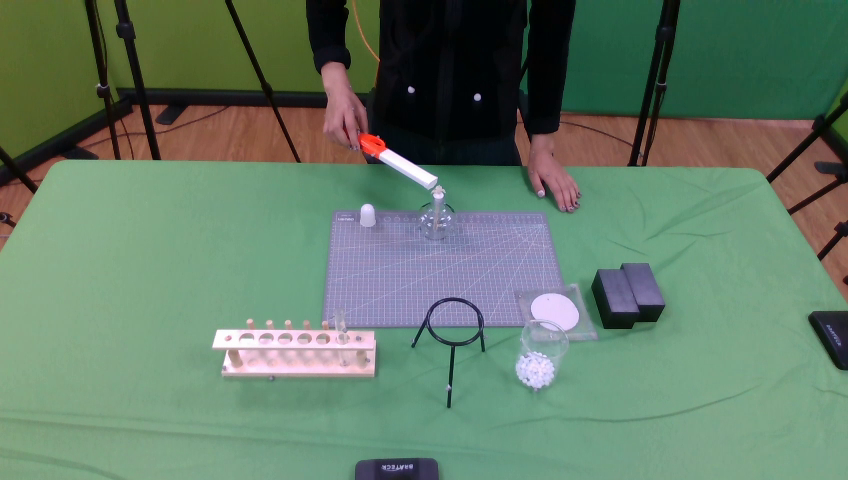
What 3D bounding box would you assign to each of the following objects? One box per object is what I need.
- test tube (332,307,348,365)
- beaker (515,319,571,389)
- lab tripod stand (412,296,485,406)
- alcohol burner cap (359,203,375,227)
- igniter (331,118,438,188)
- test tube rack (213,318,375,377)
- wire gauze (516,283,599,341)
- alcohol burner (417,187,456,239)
[{"bbox_3d":[-0.128,0.151,0.931,0.017,0.151,0.017,1,50,-2],"label":"test tube"},{"bbox_3d":[0.186,0.186,0.980,0.074,0.101,0.083,-23,51,-24],"label":"beaker"},{"bbox_3d":[0.045,0.168,0.963,0.148,0.132,0.147,3,47,-3],"label":"lab tripod stand"},{"bbox_3d":[-0.115,-0.053,1.224,0.034,0.048,0.033,3,47,-3],"label":"alcohol burner cap"},{"bbox_3d":[-0.088,-0.178,1.211,0.275,0.025,0.057,33,48,24],"label":"igniter"},{"bbox_3d":[-0.202,0.170,0.977,0.242,0.085,0.066,1,46,-3],"label":"test tube rack"},{"bbox_3d":[0.240,0.131,1.094,0.125,0.011,0.120,-3,48,-8],"label":"wire gauze"},{"bbox_3d":[0.026,-0.059,1.189,0.078,0.120,0.077,1,48,-1],"label":"alcohol burner"}]
